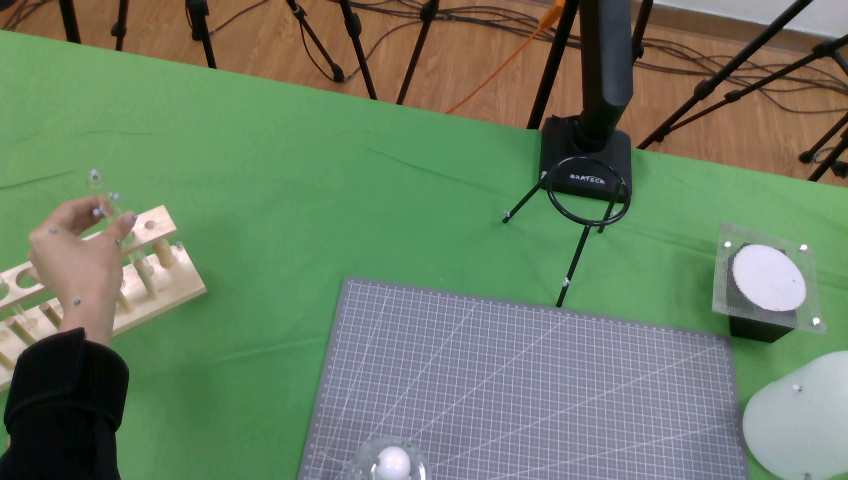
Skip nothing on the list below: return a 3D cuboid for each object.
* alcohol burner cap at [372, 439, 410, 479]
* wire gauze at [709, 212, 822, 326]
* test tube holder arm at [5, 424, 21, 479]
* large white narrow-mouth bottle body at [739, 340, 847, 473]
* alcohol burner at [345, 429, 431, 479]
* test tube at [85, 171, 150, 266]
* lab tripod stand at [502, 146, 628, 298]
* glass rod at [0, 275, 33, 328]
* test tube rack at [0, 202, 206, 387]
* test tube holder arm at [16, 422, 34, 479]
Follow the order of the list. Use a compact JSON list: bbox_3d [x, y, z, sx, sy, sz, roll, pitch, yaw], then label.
[{"bbox_3d":[-0.027,0.184,0.503,0.034,0.048,0.033,3,53,-4],"label":"alcohol burner cap"},{"bbox_3d":[0.387,0.032,0.690,0.121,0.011,0.124,16,59,2],"label":"wire gauze"},{"bbox_3d":[-0.340,0.197,0.501,0.010,0.015,0.087,-6,61,-19],"label":"test tube holder arm"},{"bbox_3d":[0.391,0.151,0.570,0.102,0.196,0.101,3,59,-4],"label":"large white narrow-mouth bottle body"},{"bbox_3d":[-0.030,0.202,0.534,0.078,0.120,0.077,4,58,-6],"label":"alcohol burner"},{"bbox_3d":[-0.293,-0.014,0.586,0.017,0.151,0.017,3,57,-5],"label":"test tube"},{"bbox_3d":[0.164,-0.027,0.682,0.148,0.132,0.147,4,61,-6],"label":"lab tripod stand"},{"bbox_3d":[-0.384,0.025,0.536,0.008,0.201,0.008,5,50,-6],"label":"glass rod"},{"bbox_3d":[-0.352,0.058,0.597,0.242,0.086,0.066,-28,67,-21],"label":"test tube rack"},{"bbox_3d":[-0.323,0.235,0.482,0.013,0.015,0.176,-6,61,-20],"label":"test tube holder arm"}]
